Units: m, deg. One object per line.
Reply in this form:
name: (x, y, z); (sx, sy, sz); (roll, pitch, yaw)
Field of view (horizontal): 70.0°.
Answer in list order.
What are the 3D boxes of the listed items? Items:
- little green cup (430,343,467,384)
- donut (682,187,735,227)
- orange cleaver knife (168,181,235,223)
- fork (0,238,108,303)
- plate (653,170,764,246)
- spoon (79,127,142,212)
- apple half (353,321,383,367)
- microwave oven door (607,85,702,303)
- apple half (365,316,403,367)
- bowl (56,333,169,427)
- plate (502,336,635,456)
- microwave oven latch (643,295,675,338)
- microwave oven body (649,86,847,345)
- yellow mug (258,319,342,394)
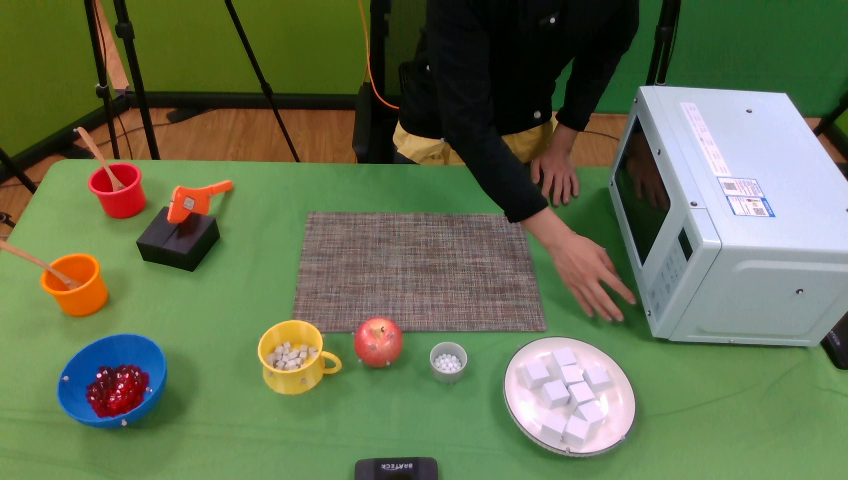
little green cup: (0.039, 0.203, 0.994); (0.061, 0.039, 0.061); (2, 46, -2)
donut: (0.554, -0.066, 1.183); (0.099, 0.048, 0.098); (3, 44, -3)
orange cleaver knife: (-0.436, -0.078, 1.196); (0.012, 0.077, 0.211); (16, 15, 10)
fork: (-0.633, 0.048, 1.017); (0.208, 0.018, 0.028); (40, 43, -27)
plate: (0.556, -0.059, 1.196); (0.209, 0.038, 0.208); (2, 46, -2)
spoon: (-0.624, -0.139, 1.203); (0.041, 0.021, 0.194); (-33, 100, -26)
apple half: (-0.097, 0.177, 0.984); (0.033, 0.081, 0.081); (-17, 49, -24)
microwave oven door: (0.423, -0.094, 1.140); (0.039, 0.245, 0.353); (2, 46, -1)
apple half: (-0.063, 0.165, 1.000); (0.053, 0.075, 0.080); (-16, 45, -24)
bowl: (-0.456, 0.222, 0.912); (0.151, 0.077, 0.150); (3, 46, -2)
plate: (0.225, 0.248, 0.963); (0.208, 0.039, 0.206); (2, 46, -2)
microwave oven latch: (0.410, 0.133, 1.062); (0.030, 0.029, 0.078); (1, 45, -2)
microwave oven body: (0.568, -0.053, 1.119); (0.326, 0.261, 0.439); (2, 45, -1)
yellow mug: (-0.195, 0.188, 0.972); (0.131, 0.064, 0.099); (9, 47, 4)
